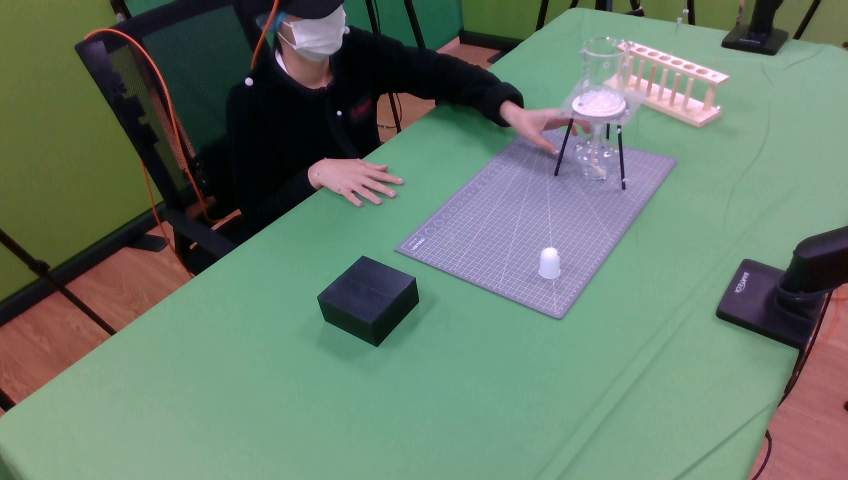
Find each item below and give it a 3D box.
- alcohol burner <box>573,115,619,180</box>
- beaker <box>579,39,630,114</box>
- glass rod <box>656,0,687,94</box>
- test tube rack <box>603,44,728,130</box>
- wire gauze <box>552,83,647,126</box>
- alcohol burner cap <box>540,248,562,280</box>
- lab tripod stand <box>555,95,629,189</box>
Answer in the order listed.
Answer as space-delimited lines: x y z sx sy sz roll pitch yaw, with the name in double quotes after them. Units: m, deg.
0.300 -0.164 1.048 0.078 0.119 0.077 -3 40 3 "alcohol burner"
0.289 -0.264 0.975 0.073 0.101 0.084 17 45 27 "beaker"
0.491 -0.381 1.199 0.008 0.200 0.008 1 41 0 "glass rod"
0.480 -0.316 1.227 0.067 0.085 0.240 -28 44 -22 "test tube rack"
0.293 -0.224 1.004 0.120 0.011 0.125 19 43 26 "wire gauze"
0.187 0.032 0.888 0.034 0.048 0.033 -4 40 4 "alcohol burner cap"
0.300 -0.174 1.045 0.148 0.132 0.147 -5 38 5 "lab tripod stand"
